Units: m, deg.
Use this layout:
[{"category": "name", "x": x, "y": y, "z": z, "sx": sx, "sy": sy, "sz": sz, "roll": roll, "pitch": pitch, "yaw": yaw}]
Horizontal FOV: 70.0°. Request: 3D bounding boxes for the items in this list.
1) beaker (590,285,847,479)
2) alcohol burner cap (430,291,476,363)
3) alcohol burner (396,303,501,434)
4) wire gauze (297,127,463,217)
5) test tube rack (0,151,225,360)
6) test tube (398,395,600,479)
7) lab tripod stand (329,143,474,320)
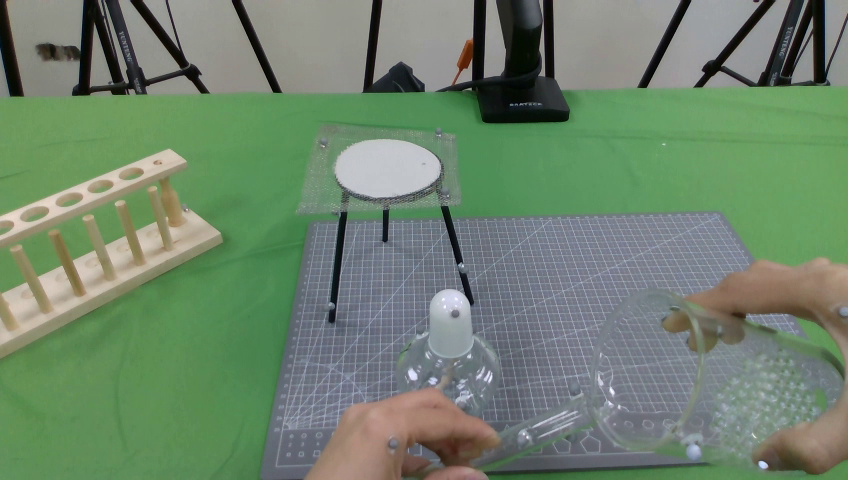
[{"category": "beaker", "x": 0.142, "y": 0.074, "z": 0.291, "sx": 0.101, "sy": 0.084, "sz": 0.073, "roll": 17, "pitch": 45, "yaw": -16}, {"category": "alcohol burner cap", "x": 0.019, "y": 0.056, "z": 0.411, "sx": 0.034, "sy": 0.048, "sz": 0.033, "roll": -2, "pitch": 38, "yaw": 2}, {"category": "alcohol burner", "x": 0.018, "y": 0.084, "z": 0.434, "sx": 0.078, "sy": 0.120, "sz": 0.077, "roll": 1, "pitch": 41, "yaw": 0}, {"category": "wire gauze", "x": -0.032, "y": -0.057, "z": 0.486, "sx": 0.121, "sy": 0.011, "sz": 0.124, "roll": 1, "pitch": 40, "yaw": -1}, {"category": "test tube rack", "x": -0.312, "y": 0.012, "z": 0.548, "sx": 0.066, "sy": 0.086, "sz": 0.242, "roll": 31, "pitch": 48, "yaw": 33}, {"category": "test tube", "x": 0.028, "y": 0.122, "z": 0.334, "sx": 0.150, "sy": 0.017, "sz": 0.017, "roll": -33, "pitch": 31, "yaw": 25}, {"category": "lab tripod stand", "x": -0.023, "y": -0.007, "z": 0.530, "sx": 0.148, "sy": 0.132, "sz": 0.147, "roll": 1, "pitch": 38, "yaw": -1}]
